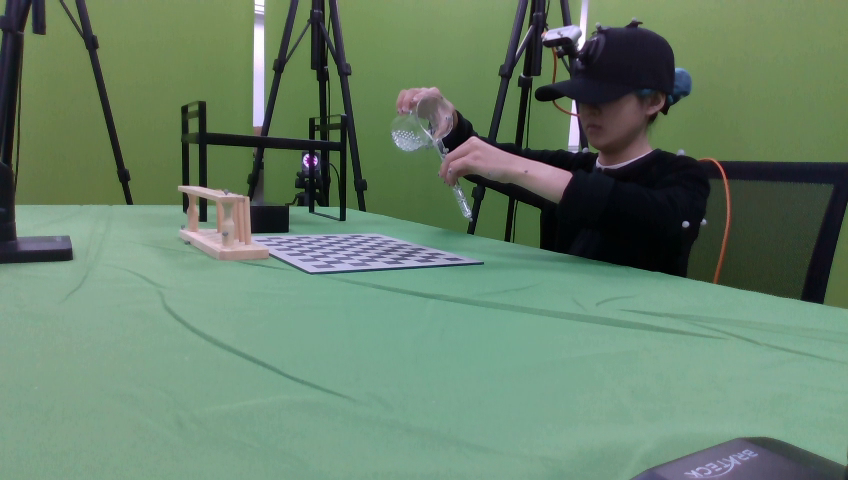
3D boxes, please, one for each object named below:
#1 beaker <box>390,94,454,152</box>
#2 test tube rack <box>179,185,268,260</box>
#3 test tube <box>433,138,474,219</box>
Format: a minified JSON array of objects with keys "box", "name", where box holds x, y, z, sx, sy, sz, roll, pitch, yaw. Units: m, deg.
[{"box":[-0.006,-0.195,1.040,0.074,0.084,0.100,-2,-8,-33],"name":"beaker"},{"box":[-0.303,-0.031,0.898,0.067,0.085,0.241,-2,9,-33],"name":"test tube rack"},{"box":[0.047,-0.100,0.972,0.017,0.150,0.017,-19,-20,-7],"name":"test tube"}]
